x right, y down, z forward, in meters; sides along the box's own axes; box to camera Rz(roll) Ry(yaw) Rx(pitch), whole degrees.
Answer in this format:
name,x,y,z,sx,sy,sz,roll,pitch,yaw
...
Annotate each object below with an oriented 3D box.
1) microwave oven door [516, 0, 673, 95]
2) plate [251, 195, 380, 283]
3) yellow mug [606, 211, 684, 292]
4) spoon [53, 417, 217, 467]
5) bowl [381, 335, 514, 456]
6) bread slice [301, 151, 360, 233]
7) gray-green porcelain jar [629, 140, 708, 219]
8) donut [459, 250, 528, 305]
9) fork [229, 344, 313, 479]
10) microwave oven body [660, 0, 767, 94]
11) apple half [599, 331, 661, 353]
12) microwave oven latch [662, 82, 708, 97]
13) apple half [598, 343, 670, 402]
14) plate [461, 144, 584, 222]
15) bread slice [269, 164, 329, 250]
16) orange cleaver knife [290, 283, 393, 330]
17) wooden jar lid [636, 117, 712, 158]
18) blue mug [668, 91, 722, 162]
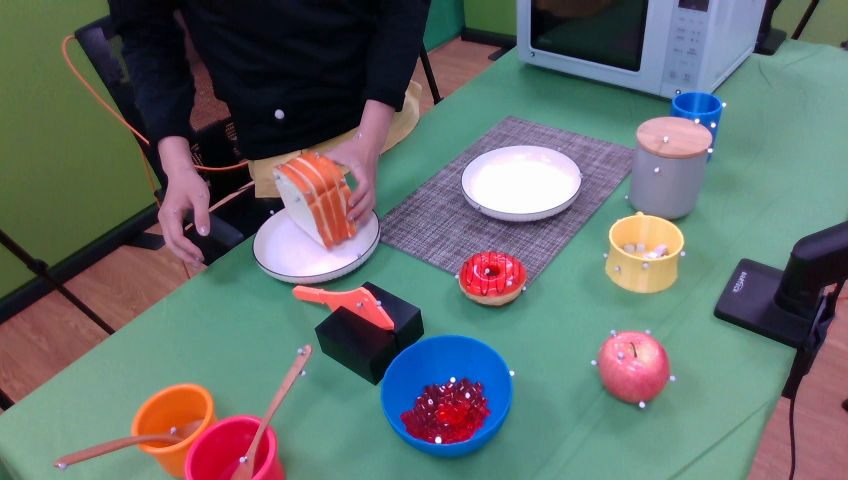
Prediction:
name,x,y,z,sx,sy,sz,roll,pitch,yaw
microwave oven door,0.344,-0.458,1.256,0.353,0.245,0.039,26,51,33
plate,-0.173,-0.001,0.984,0.209,0.038,0.208,-4,41,4
yellow mug,0.318,0.008,0.883,0.100,0.064,0.130,0,40,9
spoon,-0.308,0.219,0.663,0.041,0.195,0.021,24,94,29
bowl,0.029,0.192,0.701,0.151,0.077,0.150,-4,40,4
bread slice,-0.149,-0.081,0.963,0.019,0.132,0.104,-39,53,-24
gray-green porcelain jar,0.383,-0.105,0.958,0.106,0.127,0.105,-4,41,4
donut,0.100,0.053,0.872,0.099,0.048,0.098,-5,41,4
fork,-0.173,0.205,0.662,0.028,0.019,0.207,29,94,36
microwave oven body,0.474,-0.517,1.314,0.438,0.261,0.327,26,51,34
apple half,0.249,0.134,0.738,0.081,0.081,0.032,-1,46,7
microwave oven latch,0.518,-0.298,1.203,0.078,0.029,0.030,28,53,35
apple half,0.247,0.161,0.710,0.081,0.075,0.053,2,47,5
plate,0.168,-0.095,1.040,0.207,0.039,0.206,-4,40,4
bread slice,-0.196,-0.057,0.937,0.018,0.135,0.106,-39,52,-24
orange cleaver knife,-0.118,0.091,0.835,0.209,0.077,0.012,1,35,48
wooden jar lid,0.377,-0.151,0.917,0.108,0.021,0.108,-2,42,3
blue mug,0.474,-0.207,1.079,0.082,0.106,0.116,4,42,13
